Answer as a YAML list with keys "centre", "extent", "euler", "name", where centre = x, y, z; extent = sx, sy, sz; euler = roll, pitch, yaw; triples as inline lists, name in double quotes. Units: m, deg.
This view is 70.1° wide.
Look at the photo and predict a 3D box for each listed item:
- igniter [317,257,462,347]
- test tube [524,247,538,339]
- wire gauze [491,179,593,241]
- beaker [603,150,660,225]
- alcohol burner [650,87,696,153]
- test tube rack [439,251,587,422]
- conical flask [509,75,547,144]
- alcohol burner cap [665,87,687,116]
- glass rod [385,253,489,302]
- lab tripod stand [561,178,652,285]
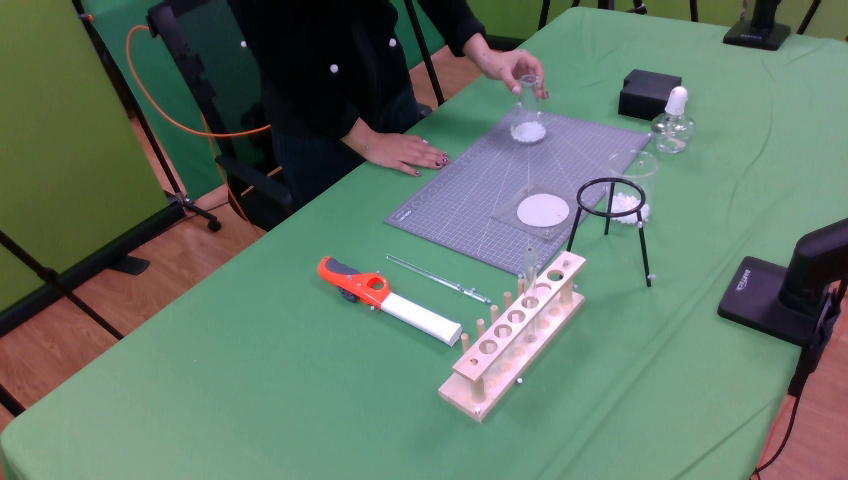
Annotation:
- centre: [-0.061, 0.086, 0.891]
  extent: [0.274, 0.025, 0.057]
  euler: [23, 59, 33]
  name: "igniter"
- centre: [0.133, 0.070, 0.749]
  extent: [0.017, 0.151, 0.017]
  euler: [-5, 38, 4]
  name: "test tube"
- centre: [0.198, -0.051, 1.014]
  extent: [0.125, 0.011, 0.120]
  euler: [-38, 48, -27]
  name: "wire gauze"
- centre: [0.324, -0.080, 0.957]
  extent: [0.083, 0.101, 0.074]
  euler: [7, 42, 20]
  name: "beaker"
- centre: [0.448, -0.217, 1.084]
  extent: [0.078, 0.119, 0.077]
  euler: [-6, 38, 5]
  name: "alcohol burner"
- centre: [0.118, 0.111, 0.780]
  extent: [0.066, 0.085, 0.243]
  euler: [26, 51, 34]
  name: "test tube rack"
- centre: [0.199, -0.251, 1.157]
  extent: [0.075, 0.122, 0.075]
  euler: [-4, 41, 4]
  name: "conical flask"
- centre: [0.445, -0.244, 1.060]
  extent: [0.034, 0.048, 0.033]
  euler: [-2, 45, 3]
  name: "alcohol burner cap"
- centre: [0.016, 0.055, 0.926]
  extent: [0.198, 0.008, 0.008]
  euler: [23, 50, 32]
  name: "glass rod"
- centre: [0.263, -0.014, 0.864]
  extent: [0.148, 0.132, 0.147]
  euler: [-7, 38, 6]
  name: "lab tripod stand"
